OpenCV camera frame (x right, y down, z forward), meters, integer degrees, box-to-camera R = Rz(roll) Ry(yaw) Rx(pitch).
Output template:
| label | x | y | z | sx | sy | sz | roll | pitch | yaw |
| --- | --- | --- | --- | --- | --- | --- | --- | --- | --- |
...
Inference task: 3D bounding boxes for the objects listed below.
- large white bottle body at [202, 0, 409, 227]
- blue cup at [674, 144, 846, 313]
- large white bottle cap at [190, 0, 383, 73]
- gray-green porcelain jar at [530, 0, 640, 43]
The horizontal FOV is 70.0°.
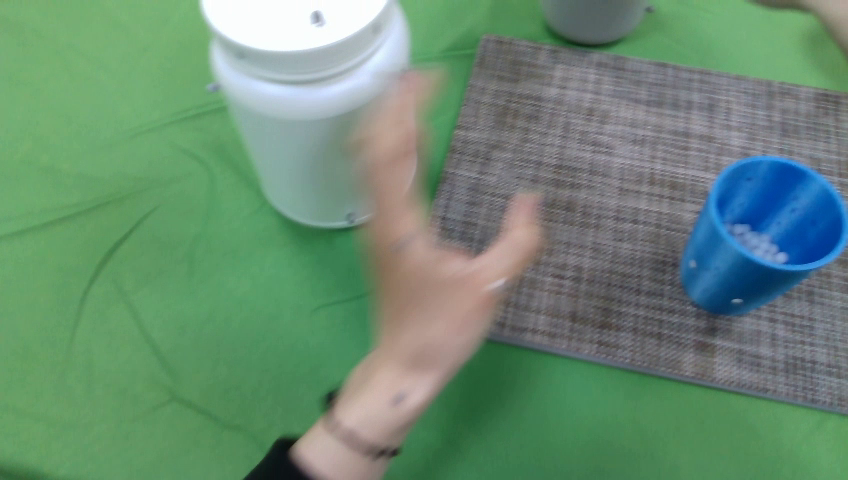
| label | x | y | z | sx | sy | sz | roll | pitch | yaw |
| --- | --- | --- | --- | --- | --- | --- | --- | --- | --- |
| large white bottle body | -0.080 | -0.107 | 0.441 | 0.130 | 0.186 | 0.129 | 0 | 61 | 1 |
| blue cup | 0.219 | 0.004 | 0.419 | 0.092 | 0.101 | 0.092 | -1 | 60 | 2 |
| large white bottle cap | -0.082 | -0.148 | 0.366 | 0.115 | 0.018 | 0.114 | 0 | 61 | 1 |
| gray-green porcelain jar | 0.153 | -0.255 | 0.552 | 0.106 | 0.127 | 0.105 | -1 | 62 | 1 |
